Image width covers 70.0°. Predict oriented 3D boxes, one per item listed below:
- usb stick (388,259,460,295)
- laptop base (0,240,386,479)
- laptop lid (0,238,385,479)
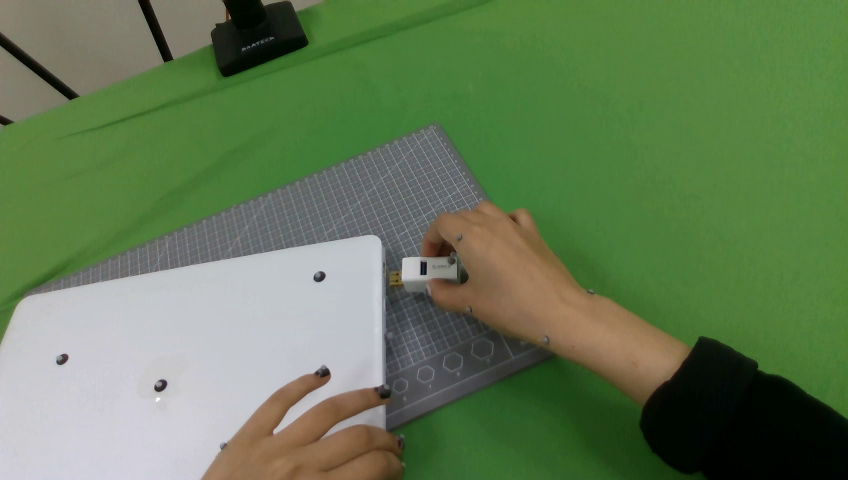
[{"bbox_3d":[-0.002,0.030,0.482,0.059,0.027,0.021,-5,64,11],"label":"usb stick"},{"bbox_3d":[-0.200,0.124,0.485,0.354,0.023,0.233,-10,54,7],"label":"laptop base"},{"bbox_3d":[-0.203,0.119,0.474,0.356,0.013,0.239,-9,53,9],"label":"laptop lid"}]
